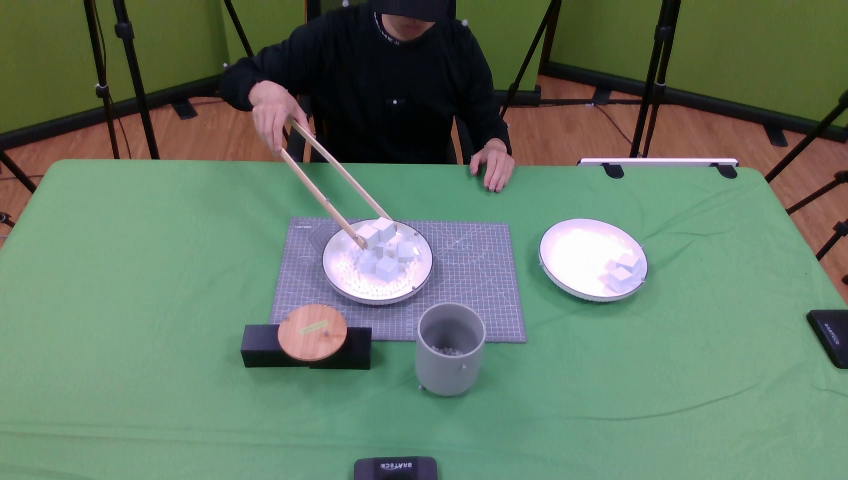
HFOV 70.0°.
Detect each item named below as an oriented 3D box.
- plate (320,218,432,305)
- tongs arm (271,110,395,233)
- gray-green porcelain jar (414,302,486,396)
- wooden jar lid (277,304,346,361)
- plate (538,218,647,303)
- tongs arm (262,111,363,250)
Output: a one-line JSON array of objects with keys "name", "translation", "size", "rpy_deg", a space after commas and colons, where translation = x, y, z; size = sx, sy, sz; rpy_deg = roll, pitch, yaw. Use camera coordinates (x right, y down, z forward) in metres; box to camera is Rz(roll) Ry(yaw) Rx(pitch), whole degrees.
[{"name": "plate", "translation": [-0.089, 0.044, 1.134], "size": [0.209, 0.038, 0.208], "rpy_deg": [3, 46, -2]}, {"name": "tongs arm", "translation": [-0.180, -0.142, 1.182], "size": [0.028, 0.028, 0.385], "rpy_deg": [-35, 64, -22]}, {"name": "gray-green porcelain jar", "translation": [0.038, 0.177, 0.958], "size": [0.106, 0.127, 0.105], "rpy_deg": [2, 46, -2]}, {"name": "wooden jar lid", "translation": [-0.179, 0.150, 0.972], "size": [0.108, 0.021, 0.107], "rpy_deg": [2, 45, -2]}, {"name": "plate", "translation": [0.322, 0.042, 1.171], "size": [0.208, 0.039, 0.206], "rpy_deg": [2, 46, -2]}, {"name": "tongs arm", "translation": [-0.214, -0.123, 1.164], "size": [0.051, 0.026, 0.383], "rpy_deg": [-32, 63, -24]}]
